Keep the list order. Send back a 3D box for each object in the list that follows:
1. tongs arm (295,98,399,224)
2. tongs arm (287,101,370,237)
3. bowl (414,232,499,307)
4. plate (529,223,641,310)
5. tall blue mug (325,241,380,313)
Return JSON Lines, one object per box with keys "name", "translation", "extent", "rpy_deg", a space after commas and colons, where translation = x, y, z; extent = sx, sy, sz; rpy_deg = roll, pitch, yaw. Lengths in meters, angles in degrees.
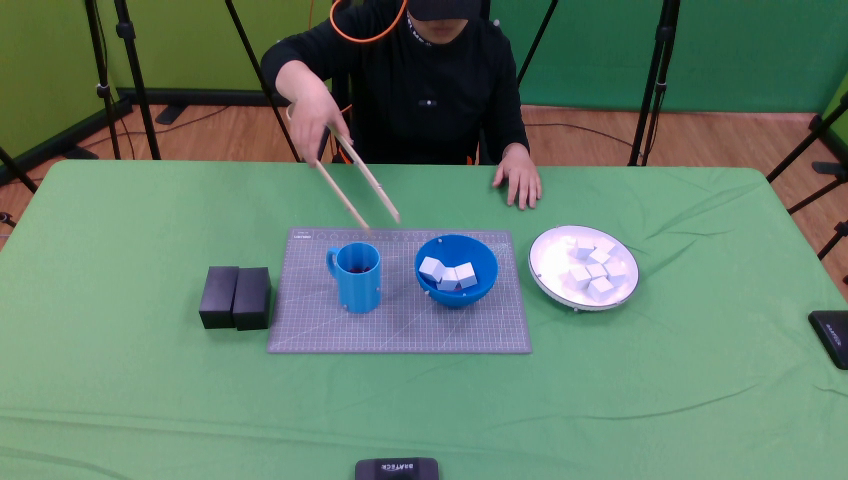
{"name": "tongs arm", "translation": [-0.149, -0.152, 1.097], "extent": [0.051, 0.027, 0.382], "rpy_deg": [-25, 52, -12]}
{"name": "tongs arm", "translation": [-0.178, -0.137, 1.089], "extent": [0.028, 0.028, 0.385], "rpy_deg": [-29, 53, -9]}
{"name": "bowl", "translation": [0.056, 0.067, 1.093], "extent": [0.151, 0.077, 0.150], "rpy_deg": [2, 47, -2]}
{"name": "plate", "translation": [0.303, 0.053, 1.156], "extent": [0.209, 0.038, 0.208], "rpy_deg": [2, 46, -1]}
{"name": "tall blue mug", "translation": [-0.130, 0.063, 1.063], "extent": [0.107, 0.108, 0.077], "rpy_deg": [9, 47, 5]}
